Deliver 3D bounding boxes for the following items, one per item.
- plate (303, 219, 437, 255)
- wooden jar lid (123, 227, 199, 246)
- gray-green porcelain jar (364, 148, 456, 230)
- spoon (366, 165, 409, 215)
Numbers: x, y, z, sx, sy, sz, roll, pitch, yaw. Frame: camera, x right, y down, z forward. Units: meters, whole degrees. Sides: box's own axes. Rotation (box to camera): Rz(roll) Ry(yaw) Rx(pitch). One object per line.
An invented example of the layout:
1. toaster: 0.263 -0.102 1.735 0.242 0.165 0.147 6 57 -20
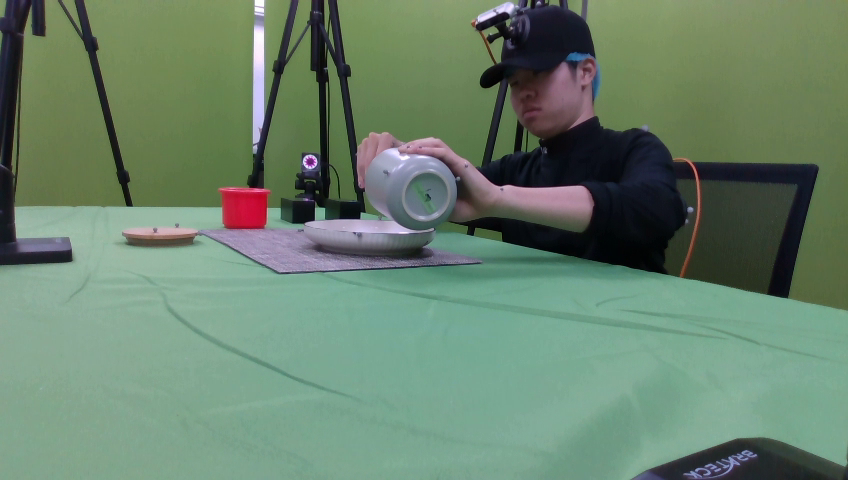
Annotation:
1. plate: -0.084 -0.005 0.952 0.208 0.039 0.207 3 7 0
2. wooden jar lid: -0.408 -0.006 0.942 0.108 0.020 0.108 3 6 0
3. gray-green porcelain jar: -0.020 -0.073 0.858 0.106 0.106 0.126 0 13 -21
4. spoon: -0.065 -0.082 0.943 0.042 0.021 0.193 15 16 -27
